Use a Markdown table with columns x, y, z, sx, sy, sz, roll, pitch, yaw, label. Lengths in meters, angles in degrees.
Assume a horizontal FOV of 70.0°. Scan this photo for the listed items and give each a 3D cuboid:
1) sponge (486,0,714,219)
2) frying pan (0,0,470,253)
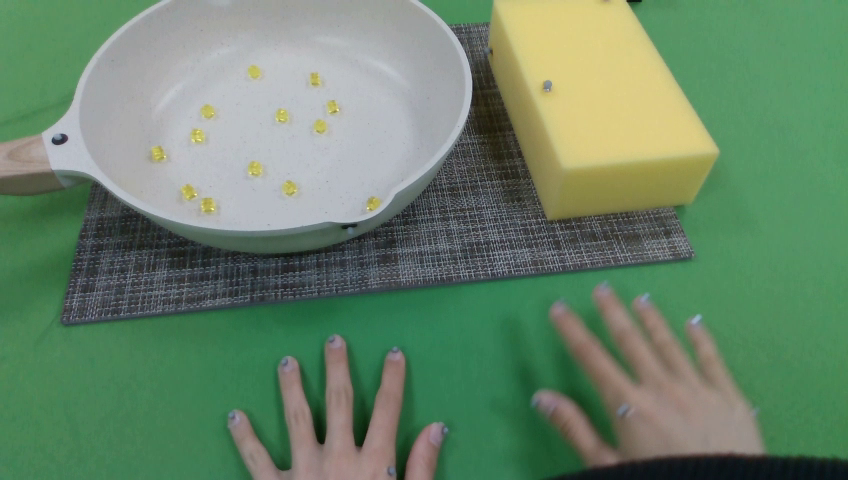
| x | y | z | sx | sy | sz | roll | pitch | yaw | label |
| --- | --- | --- | --- | --- | --- | --- | --- | --- | --- |
| 0.133 | -0.119 | 0.506 | 0.118 | 0.061 | 0.204 | -7 | 54 | -7 | sponge |
| -0.201 | -0.076 | 0.436 | 0.489 | 0.103 | 0.303 | -18 | 55 | -24 | frying pan |
